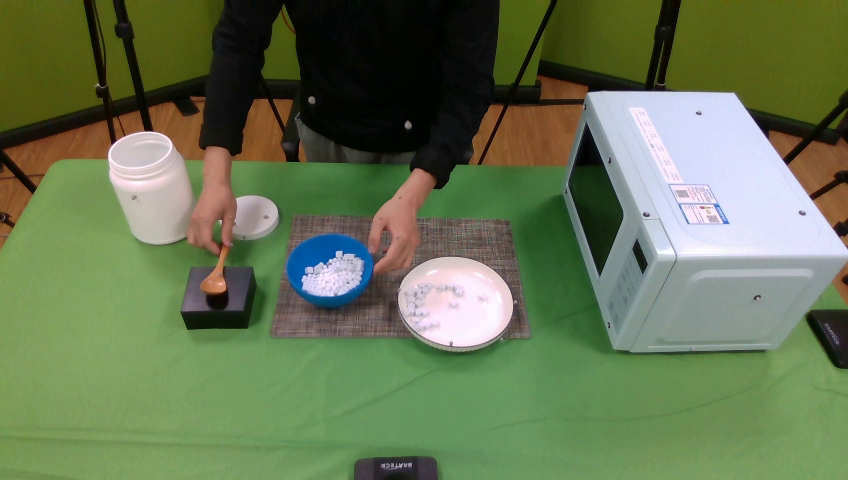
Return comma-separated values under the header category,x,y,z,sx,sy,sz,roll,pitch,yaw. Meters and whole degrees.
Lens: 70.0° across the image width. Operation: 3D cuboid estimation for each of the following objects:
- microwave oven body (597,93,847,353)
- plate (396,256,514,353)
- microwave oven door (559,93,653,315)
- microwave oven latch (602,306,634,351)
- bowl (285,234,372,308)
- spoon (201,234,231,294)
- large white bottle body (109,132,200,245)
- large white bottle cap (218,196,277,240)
category,x,y,z,sx,sy,sz,roll,pitch,yaw
microwave oven body,0.475,-0.041,1.109,0.326,0.261,0.438,-1,45,-4
plate,0.053,0.116,1.077,0.209,0.038,0.208,2,46,-2
microwave oven door,0.327,-0.074,1.123,0.039,0.245,0.353,-1,46,-5
microwave oven latch,0.332,0.153,1.044,0.030,0.029,0.078,0,45,-4
bowl,-0.167,0.068,1.077,0.151,0.077,0.150,3,45,-3
spoon,-0.362,0.039,1.079,0.042,0.022,0.192,0,35,-8
large white bottle body,-0.506,-0.097,1.141,0.131,0.185,0.130,2,46,-2
large white bottle cap,-0.354,-0.045,1.221,0.115,0.018,0.114,2,46,-2
